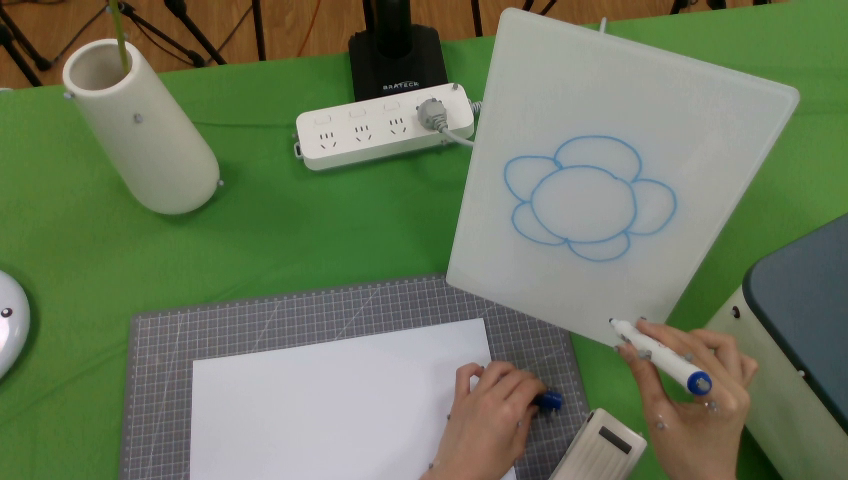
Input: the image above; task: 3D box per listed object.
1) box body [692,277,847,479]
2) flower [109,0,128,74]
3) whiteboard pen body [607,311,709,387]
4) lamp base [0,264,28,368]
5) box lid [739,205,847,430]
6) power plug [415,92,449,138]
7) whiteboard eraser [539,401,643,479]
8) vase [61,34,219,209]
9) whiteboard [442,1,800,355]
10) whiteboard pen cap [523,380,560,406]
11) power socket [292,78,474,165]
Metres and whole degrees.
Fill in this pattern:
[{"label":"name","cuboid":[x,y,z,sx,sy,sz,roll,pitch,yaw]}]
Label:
[{"label":"box body","cuboid":[0.443,0.150,0.508,0.254,0.161,0.361,-25,66,-11]},{"label":"flower","cuboid":[-0.268,-0.147,0.550,0.038,0.362,0.044,40,60,0]},{"label":"whiteboard pen body","cuboid":[0.165,0.074,0.447,0.017,0.140,0.017,-1,101,-7]},{"label":"lamp base","cuboid":[-0.503,0.050,0.555,0.178,0.182,0.160,22,65,15]},{"label":"box lid","cuboid":[0.441,0.114,0.442,0.263,0.015,0.368,-25,66,-11]},{"label":"power plug","cuboid":[0.008,-0.138,0.703,0.035,0.053,0.072,-3,70,-1]},{"label":"whiteboard eraser","cuboid":[0.146,0.206,0.548,0.055,0.042,0.112,34,69,17]},{"label":"vase","cuboid":[-0.287,-0.115,0.626,0.098,0.201,0.097,-1,63,2]},{"label":"whiteboard","cuboid":[0.163,-0.070,0.575,0.216,0.308,0.143,21,45,11]},{"label":"whiteboard pen cap","cuboid":[0.114,0.150,0.592,0.033,0.018,0.018,17,64,0]},{"label":"power socket","cuboid":[-0.048,-0.143,0.731,0.227,0.033,0.071,-12,65,-6]}]
